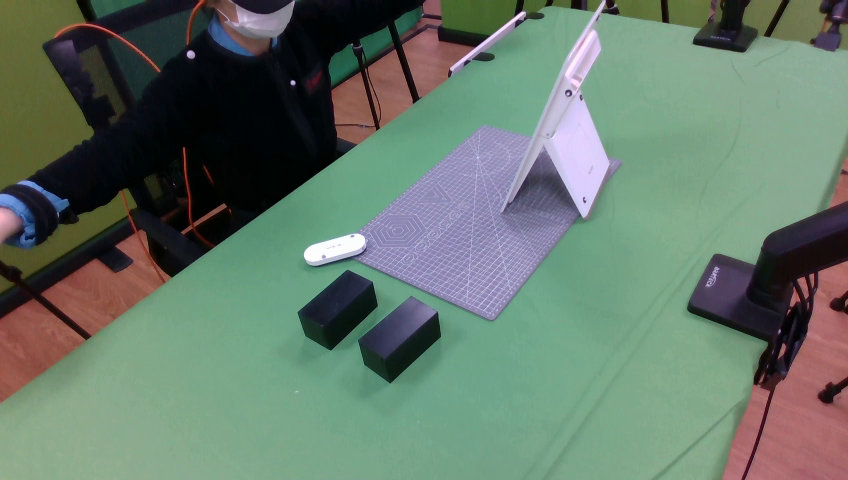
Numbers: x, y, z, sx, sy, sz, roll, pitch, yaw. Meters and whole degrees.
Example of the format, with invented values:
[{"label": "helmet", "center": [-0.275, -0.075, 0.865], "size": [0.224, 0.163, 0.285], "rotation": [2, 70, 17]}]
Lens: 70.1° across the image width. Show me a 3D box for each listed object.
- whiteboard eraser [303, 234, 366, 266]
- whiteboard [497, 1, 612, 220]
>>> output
[{"label": "whiteboard eraser", "center": [-0.144, 0.015, 0.970], "size": [0.101, 0.019, 0.041], "rotation": [-14, 43, -6]}, {"label": "whiteboard", "center": [0.259, -0.177, 0.963], "size": [0.143, 0.306, 0.217], "rotation": [28, 48, 9]}]
